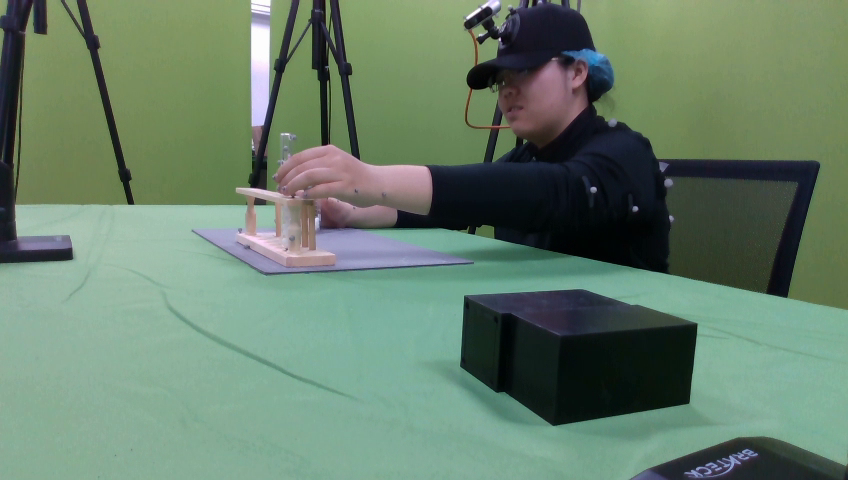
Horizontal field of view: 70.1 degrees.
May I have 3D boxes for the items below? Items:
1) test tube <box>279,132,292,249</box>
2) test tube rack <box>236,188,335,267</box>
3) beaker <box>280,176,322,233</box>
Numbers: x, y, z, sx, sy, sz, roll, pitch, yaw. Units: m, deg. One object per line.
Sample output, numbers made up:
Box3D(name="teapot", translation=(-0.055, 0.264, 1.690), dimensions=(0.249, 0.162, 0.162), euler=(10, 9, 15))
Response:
Box3D(name="test tube", translation=(-0.179, -0.063, 0.781), dimensions=(0.017, 0.150, 0.017), euler=(2, 7, 0))
Box3D(name="test tube rack", translation=(-0.203, -0.024, 0.855), dimensions=(0.067, 0.085, 0.241), euler=(-2, 9, -31))
Box3D(name="beaker", translation=(-0.225, -0.065, 1.111), dimensions=(0.074, 0.100, 0.083), euler=(-2, 10, -30))
